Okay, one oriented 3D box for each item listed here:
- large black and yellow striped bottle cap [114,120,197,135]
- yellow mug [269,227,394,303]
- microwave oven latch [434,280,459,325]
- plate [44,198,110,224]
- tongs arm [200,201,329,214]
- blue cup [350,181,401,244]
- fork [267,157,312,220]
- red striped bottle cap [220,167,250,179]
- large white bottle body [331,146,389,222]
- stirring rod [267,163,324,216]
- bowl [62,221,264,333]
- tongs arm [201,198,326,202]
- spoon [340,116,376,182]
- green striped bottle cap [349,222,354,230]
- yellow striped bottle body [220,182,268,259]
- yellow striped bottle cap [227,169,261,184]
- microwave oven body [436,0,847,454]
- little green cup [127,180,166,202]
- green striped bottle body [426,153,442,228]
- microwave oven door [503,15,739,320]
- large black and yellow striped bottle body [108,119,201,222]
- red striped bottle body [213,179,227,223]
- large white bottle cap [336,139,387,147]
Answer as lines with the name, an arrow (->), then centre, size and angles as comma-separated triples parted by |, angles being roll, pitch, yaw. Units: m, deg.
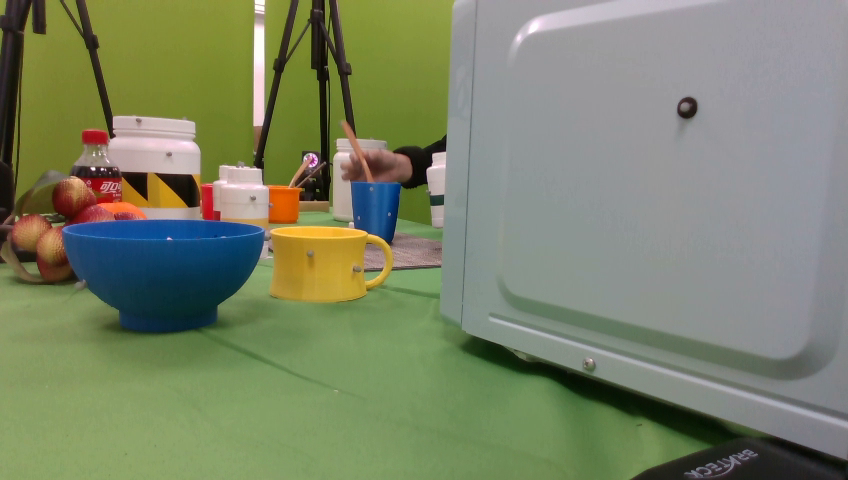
large black and yellow striped bottle cap -> -0.407, -0.171, 0.920 | 0.115, 0.019, 0.115 | 2, 9, 0
yellow mug -> -0.094, 0.023, 0.629 | 0.131, 0.064, 0.099 | 0, 7, -22
microwave oven latch -> 0.044, 0.045, 0.470 | 0.079, 0.029, 0.030 | -2, 8, -39
plate -> -0.617, -0.056, 1.179 | 0.209, 0.038, 0.209 | 3, 7, 0
tongs arm -> -0.378, -0.079, 1.440 | 0.387, 0.026, 0.050 | -4, 8, -44
blue cup -> -0.082, -0.046, 1.009 | 0.093, 0.100, 0.092 | 2, 6, 0
fork -> -0.289, -0.116, 1.321 | 0.028, 0.019, 0.207 | 6, 51, 19
red striped bottle cap -> -0.281, -0.100, 0.901 | 0.044, 0.017, 0.044 | -1, 4, 0
large white bottle body -> -0.146, -0.136, 1.388 | 0.131, 0.184, 0.130 | 2, 8, 0
stirring rod -> -0.278, -0.105, 1.294 | 0.176, 0.006, 0.014 | -47, 26, -18
bowl -> -0.209, 0.029, 0.496 | 0.151, 0.077, 0.151 | 2, 6, 0
tongs arm -> -0.433, -0.090, 1.508 | 0.390, 0.028, 0.028 | -1, 2, -29
spoon -> -0.102, -0.130, 1.025 | 0.042, 0.193, 0.021 | -14, -14, -32
green striped bottle cap -> -0.122, -0.024, 1.155 | 0.044, 0.020, 0.044 | -1, 9, 0
yellow striped bottle body -> -0.246, -0.036, 0.825 | 0.063, 0.120, 0.063 | 3, 8, 0
yellow striped bottle cap -> -0.243, -0.086, 0.818 | 0.044, 0.018, 0.044 | 3, 6, 0
microwave oven body -> 0.279, -0.040, 0.465 | 0.444, 0.260, 0.324 | -3, 9, -41
little green cup -> -0.486, -0.086, 1.061 | 0.061, 0.038, 0.061 | 1, 7, 0
green striped bottle body -> 0.038, -0.081, 0.968 | 0.063, 0.119, 0.063 | -6, 5, 1
microwave oven door -> 0.218, -0.065, 0.600 | 0.358, 0.243, 0.039 | -4, 10, -41
large black and yellow striped bottle body -> -0.412, -0.088, 0.930 | 0.131, 0.184, 0.130 | 3, 7, 0
red striped bottle body -> -0.284, -0.048, 0.910 | 0.063, 0.119, 0.063 | 3, 12, 0
large white bottle cap -> -0.142, -0.219, 1.375 | 0.115, 0.018, 0.115 | 1, 8, 0
